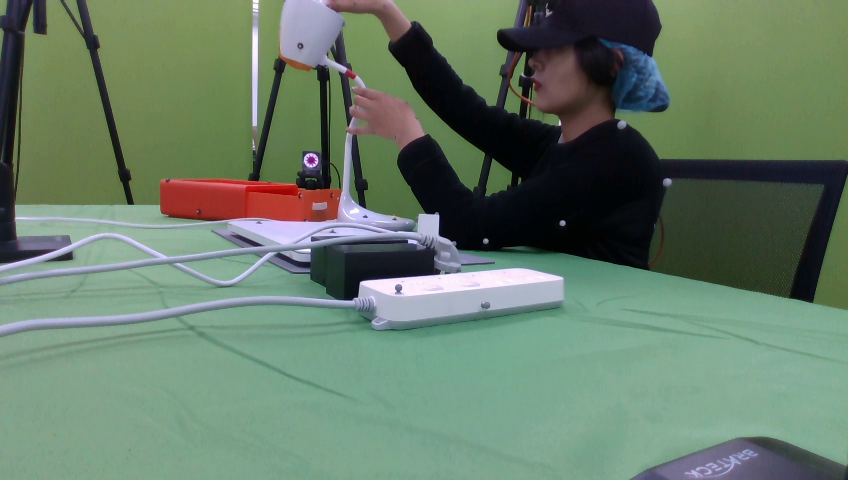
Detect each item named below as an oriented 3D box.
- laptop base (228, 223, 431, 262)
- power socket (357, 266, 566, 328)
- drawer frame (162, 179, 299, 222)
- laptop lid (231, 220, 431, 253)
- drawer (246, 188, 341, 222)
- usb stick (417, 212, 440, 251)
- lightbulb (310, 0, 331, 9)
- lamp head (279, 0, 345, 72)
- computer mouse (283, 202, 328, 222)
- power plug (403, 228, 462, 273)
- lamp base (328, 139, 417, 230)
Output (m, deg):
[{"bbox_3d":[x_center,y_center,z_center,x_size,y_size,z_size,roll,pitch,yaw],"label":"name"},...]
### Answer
[{"bbox_3d":[-0.145,0.003,0.942,0.237,0.023,0.352,2,6,-32],"label":"laptop base"},{"bbox_3d":[0.042,0.049,0.572,0.228,0.032,0.072,-3,8,-34],"label":"power socket"},{"bbox_3d":[-0.418,-0.089,1.328,0.213,0.082,0.202,4,8,18],"label":"drawer frame"},{"bbox_3d":[-0.142,-0.009,0.942,0.243,0.013,0.355,1,7,-31],"label":"laptop lid"},{"bbox_3d":[-0.312,-0.078,1.296,0.211,0.073,0.195,4,9,17],"label":"drawer"},{"bbox_3d":[0.005,-0.003,0.721,0.027,0.059,0.021,0,-3,-3],"label":"usb stick"},{"bbox_3d":[-0.210,-0.400,1.110,0.059,0.107,0.059,23,15,-6],"label":"lightbulb"},{"bbox_3d":[-0.215,-0.375,1.121,0.112,0.123,0.112,18,10,-3],"label":"lamp head"},{"bbox_3d":[-0.251,-0.060,1.287,0.063,0.041,0.117,3,4,11],"label":"computer mouse"},{"bbox_3d":[0.006,0.016,0.647,0.073,0.052,0.035,18,12,-6],"label":"power plug"},{"bbox_3d":[-0.104,-0.112,1.212,0.180,0.180,0.160,-2,7,-15],"label":"lamp base"}]
